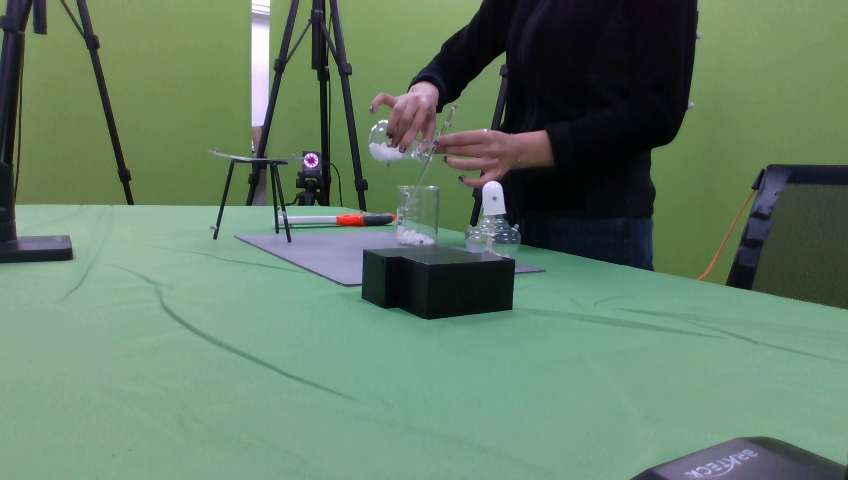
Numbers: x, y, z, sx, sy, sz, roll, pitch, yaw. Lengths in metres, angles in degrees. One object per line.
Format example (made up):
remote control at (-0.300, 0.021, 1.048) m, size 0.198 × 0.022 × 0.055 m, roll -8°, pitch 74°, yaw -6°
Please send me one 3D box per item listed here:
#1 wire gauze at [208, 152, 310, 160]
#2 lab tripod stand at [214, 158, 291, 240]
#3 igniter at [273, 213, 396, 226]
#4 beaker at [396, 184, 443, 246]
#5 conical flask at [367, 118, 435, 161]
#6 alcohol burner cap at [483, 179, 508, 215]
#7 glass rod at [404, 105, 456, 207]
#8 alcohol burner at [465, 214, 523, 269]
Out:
wire gauze at (-0.270, -0.135, 0.993) m, size 0.124 × 0.011 × 0.122 m, roll 9°, pitch 8°, yaw 41°
lab tripod stand at (-0.268, -0.068, 1.002) m, size 0.148 × 0.131 × 0.148 m, roll 3°, pitch 6°, yaw 0°
igniter at (-0.178, -0.044, 1.258) m, size 0.278 × 0.025 × 0.057 m, roll -3°, pitch -1°, yaw -39°
beaker at (-0.011, -0.043, 1.005) m, size 0.083 × 0.100 × 0.074 m, roll 8°, pitch 9°, yaw 39°
conical flask at (-0.034, -0.162, 1.022) m, size 0.076 × 0.075 × 0.121 m, roll -4°, pitch 18°, yaw -41°
alcohol burner cap at (0.094, -0.057, 0.810) m, size 0.034 × 0.048 × 0.034 m, roll -7°, pitch 6°, yaw 1°
glass rod at (0.008, -0.131, 0.976) m, size 0.008 × 0.199 × 0.008 m, roll 20°, pitch 33°, yaw -13°
alcohol burner at (0.094, -0.022, 0.815) m, size 0.078 × 0.119 × 0.078 m, roll 0°, pitch 7°, yaw 0°
